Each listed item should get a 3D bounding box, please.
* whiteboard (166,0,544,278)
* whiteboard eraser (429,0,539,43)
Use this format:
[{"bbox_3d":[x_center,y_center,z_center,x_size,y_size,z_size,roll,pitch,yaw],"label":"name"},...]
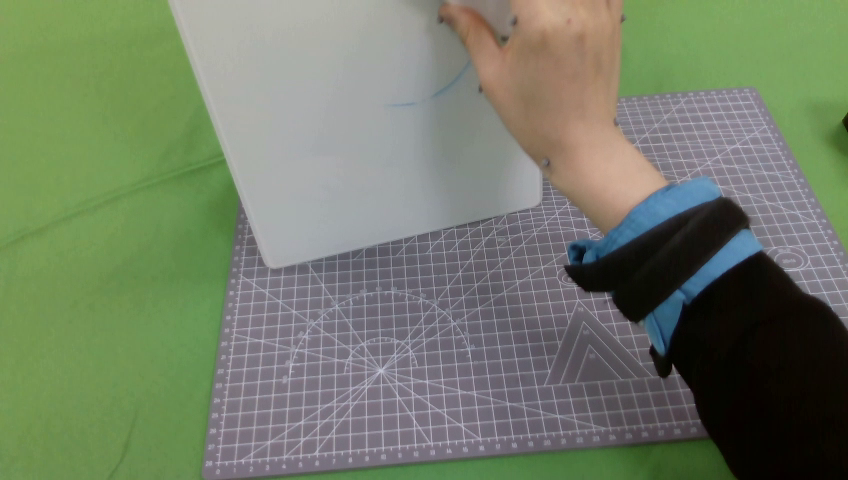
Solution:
[{"bbox_3d":[-0.045,-0.158,0.420,0.217,0.308,0.142,-13,36,-6],"label":"whiteboard"},{"bbox_3d":[0.024,-0.152,0.352,0.102,0.041,0.018,23,26,-29],"label":"whiteboard eraser"}]
